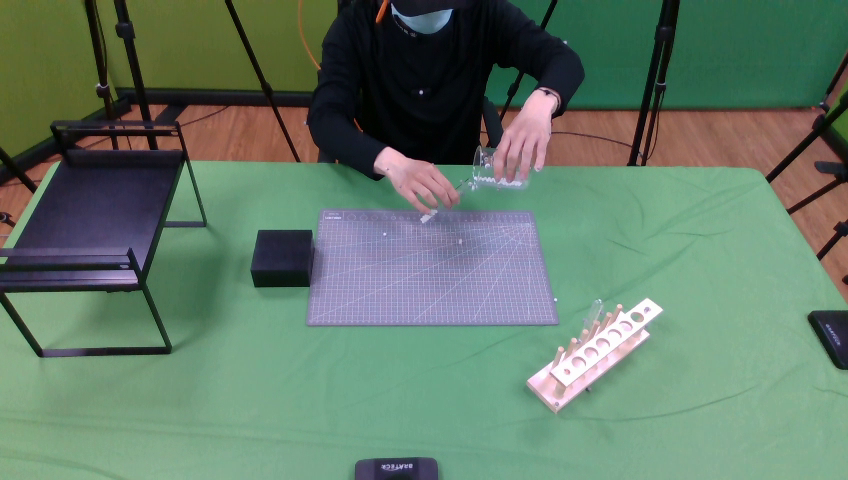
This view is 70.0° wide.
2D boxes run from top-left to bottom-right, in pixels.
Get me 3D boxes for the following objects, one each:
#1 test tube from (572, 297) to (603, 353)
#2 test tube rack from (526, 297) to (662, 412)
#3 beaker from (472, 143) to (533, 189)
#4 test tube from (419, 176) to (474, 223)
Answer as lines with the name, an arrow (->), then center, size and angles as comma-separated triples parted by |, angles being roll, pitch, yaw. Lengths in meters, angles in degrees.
test tube -> 0.263, 0.141, 0.977 | 0.017, 0.151, 0.017 | 2, 47, -2
test tube rack -> 0.284, 0.176, 1.007 | 0.242, 0.085, 0.066 | -29, 54, -27
beaker -> 0.144, -0.131, 1.118 | 0.100, 0.084, 0.074 | 5, 14, -5
test tube -> 0.042, -0.077, 1.178 | 0.017, 0.150, 0.017 | 30, 40, -29
